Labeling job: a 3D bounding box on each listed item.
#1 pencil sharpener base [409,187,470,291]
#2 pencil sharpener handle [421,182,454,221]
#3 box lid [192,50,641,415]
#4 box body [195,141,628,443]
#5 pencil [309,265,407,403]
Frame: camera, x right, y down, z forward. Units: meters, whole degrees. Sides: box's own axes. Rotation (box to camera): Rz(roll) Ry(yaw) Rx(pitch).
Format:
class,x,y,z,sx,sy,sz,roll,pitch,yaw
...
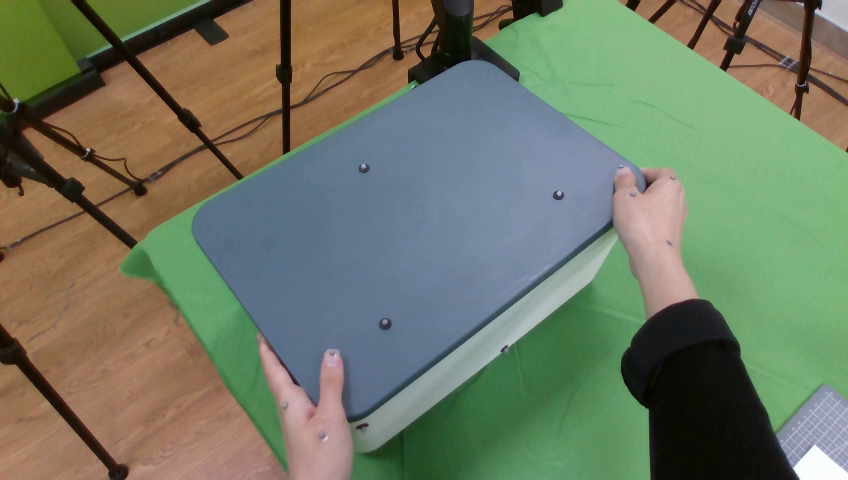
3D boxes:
class,x,y,z,sx,sy,sz,roll,pitch,yaw
pencil sharpener base,0.016,0.000,0.666,0.061,0.108,0.076,-1,57,0
pencil sharpener handle,0.016,-0.050,0.683,0.036,0.068,0.030,-3,57,3
box lid,-0.004,-0.039,0.573,0.371,0.015,0.261,-35,62,-18
box body,-0.004,0.004,0.639,0.364,0.162,0.252,-34,64,-19
pencil,-0.074,0.100,0.663,0.012,0.012,0.192,-32,66,-18
